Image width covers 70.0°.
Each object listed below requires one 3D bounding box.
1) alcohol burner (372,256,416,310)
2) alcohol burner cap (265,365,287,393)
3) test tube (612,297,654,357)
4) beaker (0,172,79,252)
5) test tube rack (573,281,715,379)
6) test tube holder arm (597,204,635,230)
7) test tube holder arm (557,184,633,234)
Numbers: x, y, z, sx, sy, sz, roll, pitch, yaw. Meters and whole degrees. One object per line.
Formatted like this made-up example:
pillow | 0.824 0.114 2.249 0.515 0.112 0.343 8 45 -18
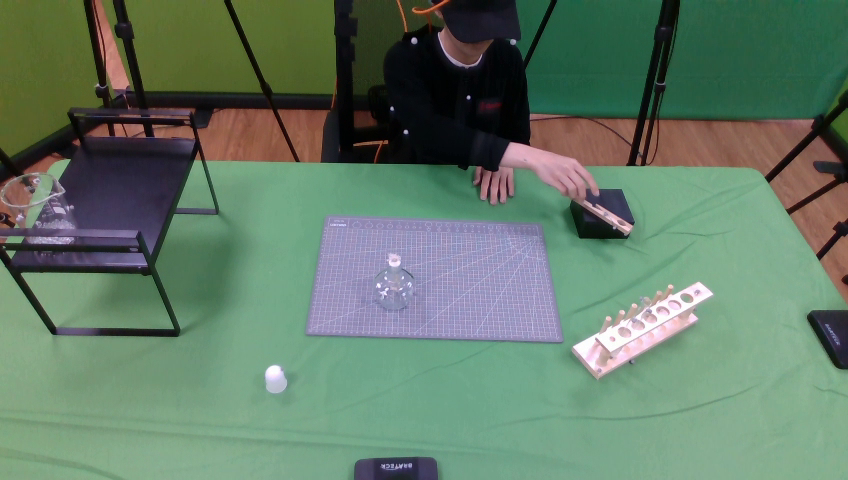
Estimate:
alcohol burner | -0.052 0.068 1.057 0.078 0.120 0.077 1 48 -1
alcohol burner cap | -0.236 0.216 0.956 0.034 0.048 0.033 3 45 -3
test tube | 0.329 0.142 0.964 0.017 0.151 0.017 5 46 -5
beaker | -0.557 -0.038 0.889 0.084 0.101 0.073 -3 47 -8
test tube rack | 0.378 0.140 1.038 0.242 0.085 0.066 -22 51 -23
test tube holder arm | 0.376 -0.045 1.195 0.010 0.015 0.087 -39 58 -23
test tube holder arm | 0.340 -0.064 1.215 0.177 0.015 0.013 36 63 29
